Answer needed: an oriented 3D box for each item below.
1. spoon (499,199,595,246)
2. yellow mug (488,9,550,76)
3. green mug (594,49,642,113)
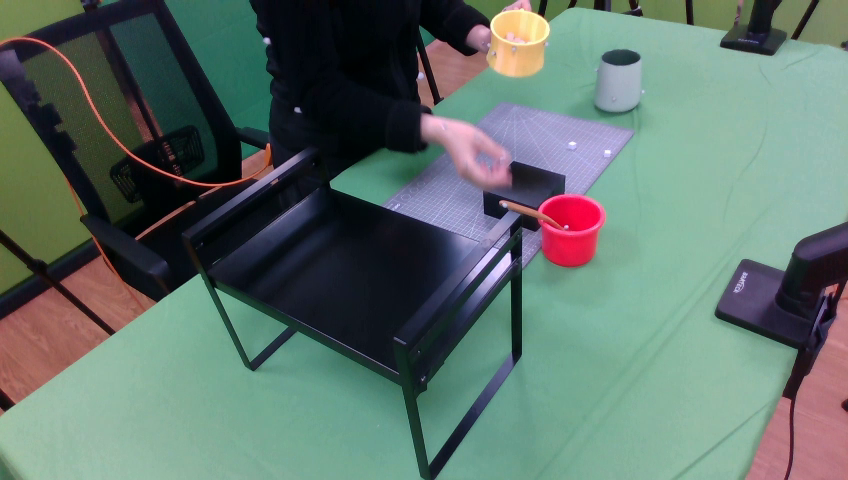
[{"bbox_3d":[0.183,-0.028,0.888,0.195,0.021,0.041,23,23,-33],"label":"spoon"},{"bbox_3d":[0.164,-0.351,1.049,0.100,0.064,0.130,7,53,4],"label":"yellow mug"},{"bbox_3d":[0.397,-0.333,1.240,0.092,0.105,0.125,-3,41,7],"label":"green mug"}]
